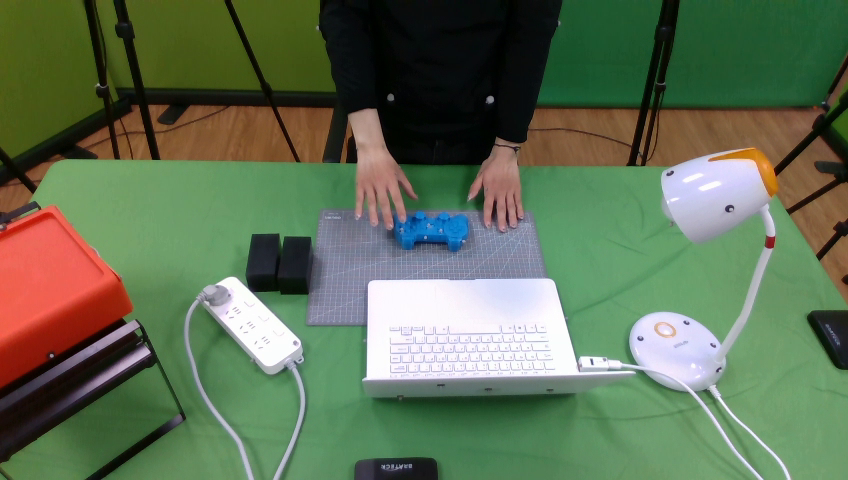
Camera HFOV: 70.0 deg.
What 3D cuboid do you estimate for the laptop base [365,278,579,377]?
[{"bbox_3d":[0.076,0.162,1.053,0.355,0.023,0.234,0,44,-4],"label":"laptop base"}]

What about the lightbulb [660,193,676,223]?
[{"bbox_3d":[0.366,-0.060,0.806,0.060,0.107,0.059,17,60,-32],"label":"lightbulb"}]

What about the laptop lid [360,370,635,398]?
[{"bbox_3d":[0.090,0.208,0.863,0.357,0.242,0.013,0,71,-6],"label":"laptop lid"}]

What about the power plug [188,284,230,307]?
[{"bbox_3d":[-0.368,0.100,1.036,0.072,0.053,0.035,-27,54,-24],"label":"power plug"}]

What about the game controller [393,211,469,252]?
[{"bbox_3d":[0.014,-0.027,1.204,0.155,0.052,0.096,2,51,-2],"label":"game controller"}]

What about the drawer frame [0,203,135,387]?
[{"bbox_3d":[-0.536,0.073,0.798,0.200,0.083,0.213,36,54,26],"label":"drawer frame"}]

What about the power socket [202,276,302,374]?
[{"bbox_3d":[-0.296,0.142,1.034,0.072,0.033,0.225,-34,58,-31],"label":"power socket"}]

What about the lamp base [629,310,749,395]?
[{"bbox_3d":[0.447,0.142,0.984,0.161,0.181,0.178,-24,55,-24],"label":"lamp base"}]

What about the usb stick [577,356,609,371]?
[{"bbox_3d":[0.274,0.207,1.007,0.059,0.027,0.021,0,52,1],"label":"usb stick"}]

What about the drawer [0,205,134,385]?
[{"bbox_3d":[-0.533,0.071,0.802,0.193,0.073,0.211,37,55,26],"label":"drawer"}]

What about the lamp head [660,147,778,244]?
[{"bbox_3d":[0.389,-0.063,0.784,0.123,0.113,0.112,-22,33,37],"label":"lamp head"}]
